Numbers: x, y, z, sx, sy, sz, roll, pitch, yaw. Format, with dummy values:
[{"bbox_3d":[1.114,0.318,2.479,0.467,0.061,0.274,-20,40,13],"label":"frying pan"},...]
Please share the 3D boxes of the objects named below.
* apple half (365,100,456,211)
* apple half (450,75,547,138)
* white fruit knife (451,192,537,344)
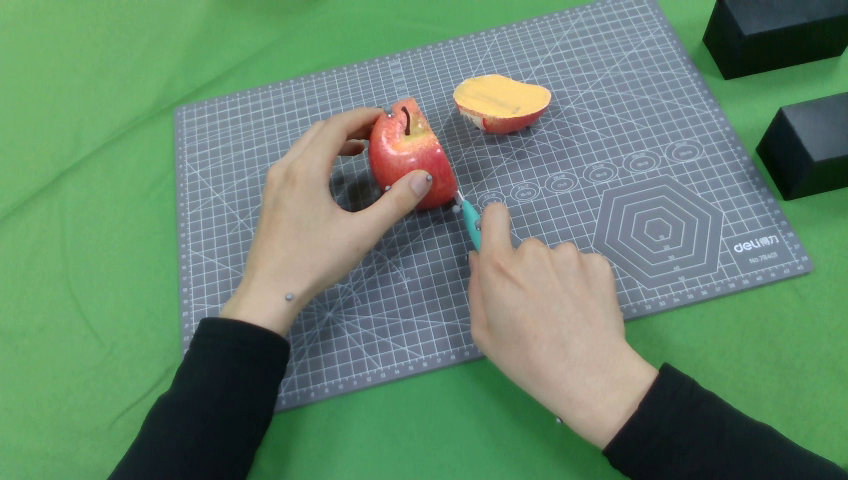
[{"bbox_3d":[-0.015,-0.056,0.457,0.053,0.075,0.080,-28,66,-2],"label":"apple half"},{"bbox_3d":[0.057,-0.101,0.491,0.081,0.033,0.080,-1,42,2],"label":"apple half"},{"bbox_3d":[0.032,-0.015,0.453,0.016,0.028,0.205,-21,58,-8],"label":"white fruit knife"}]
